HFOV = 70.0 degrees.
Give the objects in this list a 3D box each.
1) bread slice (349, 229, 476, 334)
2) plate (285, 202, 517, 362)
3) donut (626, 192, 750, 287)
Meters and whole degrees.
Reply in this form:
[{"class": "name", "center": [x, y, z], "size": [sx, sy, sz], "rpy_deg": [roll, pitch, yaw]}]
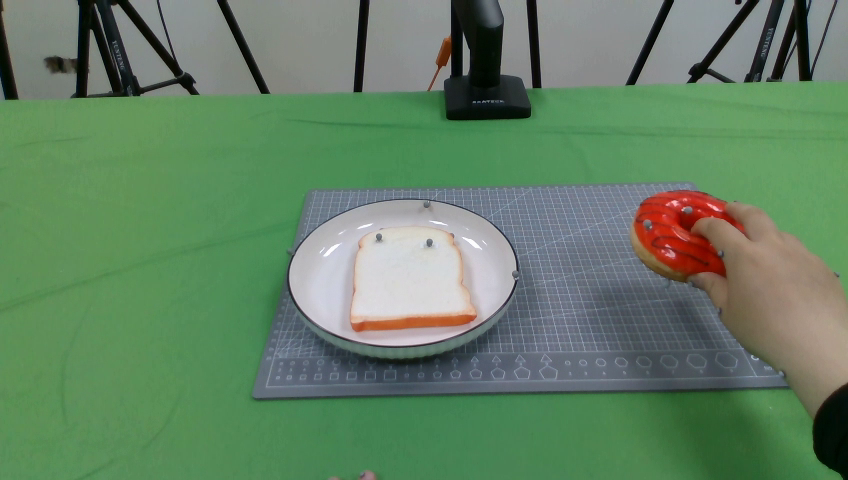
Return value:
[{"class": "bread slice", "center": [-0.017, 0.035, 0.561], "size": [0.107, 0.018, 0.133], "rpy_deg": [-4, 38, -6]}, {"class": "plate", "center": [-0.019, 0.037, 0.556], "size": [0.209, 0.038, 0.207], "rpy_deg": [0, 37, 1]}, {"class": "donut", "center": [0.222, 0.000, 0.513], "size": [0.099, 0.049, 0.098], "rpy_deg": [-1, 45, 1]}]
